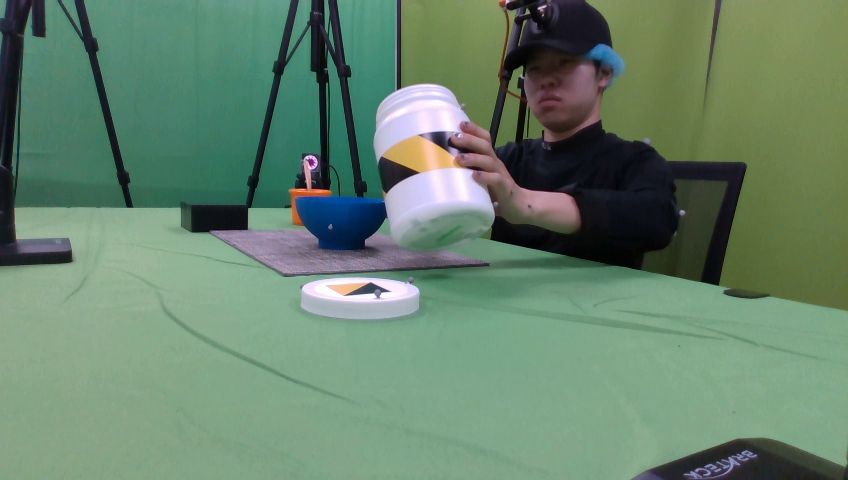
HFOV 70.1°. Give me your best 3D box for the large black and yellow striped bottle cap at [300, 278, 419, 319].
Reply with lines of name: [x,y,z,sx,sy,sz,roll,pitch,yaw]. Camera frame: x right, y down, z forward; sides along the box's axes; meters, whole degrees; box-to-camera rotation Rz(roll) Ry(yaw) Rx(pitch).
large black and yellow striped bottle cap: [-0.062,0.055,0.588,0.115,0.019,0.115,1,6,0]

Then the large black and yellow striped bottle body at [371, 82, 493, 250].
large black and yellow striped bottle body: [0.005,-0.093,0.768,0.131,0.183,0.131,-11,-20,-4]

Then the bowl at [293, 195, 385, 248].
bowl: [-0.132,-0.029,0.962,0.151,0.077,0.151,2,7,0]

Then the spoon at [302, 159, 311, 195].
spoon: [-0.257,-0.113,1.341,0.042,0.193,0.021,3,-38,-19]
